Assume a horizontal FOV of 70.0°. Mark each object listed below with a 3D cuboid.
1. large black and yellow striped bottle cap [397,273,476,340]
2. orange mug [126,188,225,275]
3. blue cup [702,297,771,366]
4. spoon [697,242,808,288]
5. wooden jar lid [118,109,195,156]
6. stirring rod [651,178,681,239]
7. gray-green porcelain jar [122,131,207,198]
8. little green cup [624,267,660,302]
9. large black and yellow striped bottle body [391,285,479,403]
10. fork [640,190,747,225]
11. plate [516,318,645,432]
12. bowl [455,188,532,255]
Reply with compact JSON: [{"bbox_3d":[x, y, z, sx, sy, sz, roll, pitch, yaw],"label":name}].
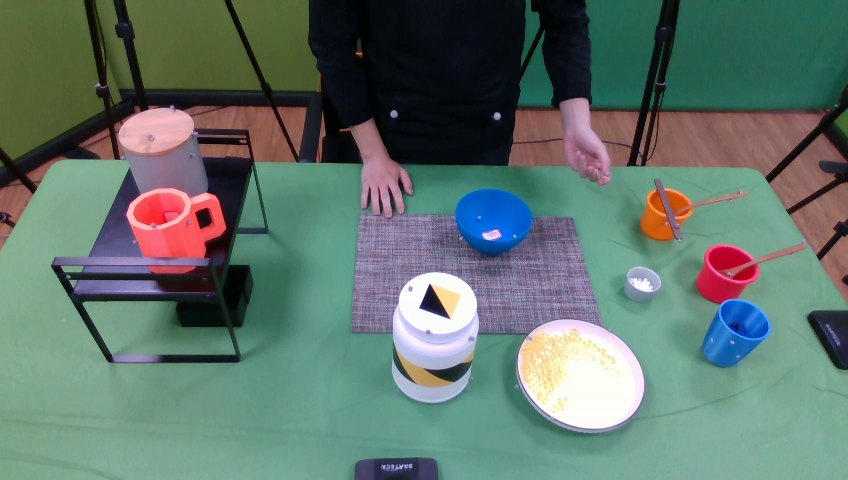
[{"bbox_3d":[0.018,0.094,0.878,0.115,0.019,0.114,3,46,-3],"label":"large black and yellow striped bottle cap"},{"bbox_3d":[-0.357,-0.020,0.885,0.126,0.101,0.083,-29,54,-23],"label":"orange mug"},{"bbox_3d":[0.519,0.162,1.025,0.093,0.101,0.092,3,45,-3],"label":"blue cup"},{"bbox_3d":[0.602,0.045,1.116,0.194,0.022,0.041,-29,34,30],"label":"spoon"},{"bbox_3d":[-0.400,-0.159,0.910,0.108,0.021,0.107,2,47,-2],"label":"wooden jar lid"},{"bbox_3d":[0.479,-0.065,1.204,0.014,0.006,0.175,3,46,-4],"label":"stirring rod"},{"bbox_3d":[-0.404,-0.115,0.955,0.106,0.127,0.105,3,46,-3],"label":"gray-green porcelain jar"},{"bbox_3d":[0.406,0.084,1.135,0.061,0.039,0.061,3,45,-3],"label":"little green cup"},{"bbox_3d":[0.015,0.153,0.938,0.131,0.185,0.130,2,46,-2],"label":"large black and yellow striped bottle body"},{"bbox_3d":[0.533,-0.064,1.211,0.207,0.019,0.028,-22,28,38],"label":"fork"},{"bbox_3d":[0.253,0.221,0.992,0.209,0.038,0.208,2,46,-2],"label":"plate"},{"bbox_3d":[0.131,-0.025,1.186,0.151,0.077,0.150,3,46,-2],"label":"bowl"}]
